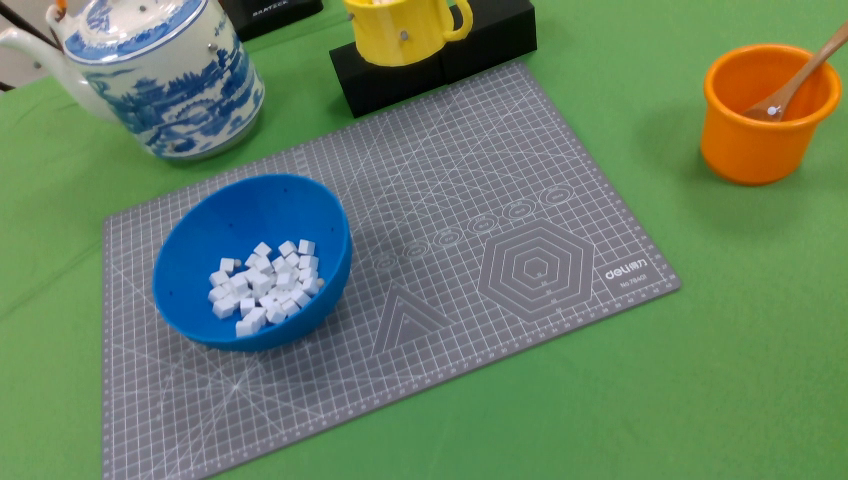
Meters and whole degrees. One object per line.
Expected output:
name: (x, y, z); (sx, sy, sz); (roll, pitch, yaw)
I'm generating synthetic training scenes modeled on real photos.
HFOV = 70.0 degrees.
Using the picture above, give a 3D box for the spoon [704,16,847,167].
spoon: (0.287, -0.130, 0.446); (0.022, 0.194, 0.041); (5, 44, -39)

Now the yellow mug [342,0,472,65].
yellow mug: (-0.013, -0.221, 0.570); (0.130, 0.064, 0.099); (19, 62, 24)

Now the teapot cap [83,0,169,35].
teapot cap: (-0.267, -0.214, 0.541); (0.085, 0.044, 0.084); (-7, 55, 11)

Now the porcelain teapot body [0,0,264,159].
porcelain teapot body: (-0.286, -0.185, 0.574); (0.205, 0.227, 0.143); (-17, 54, 3)

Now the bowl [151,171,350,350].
bowl: (-0.122, 0.028, 0.473); (0.151, 0.077, 0.150); (-6, 54, 9)
